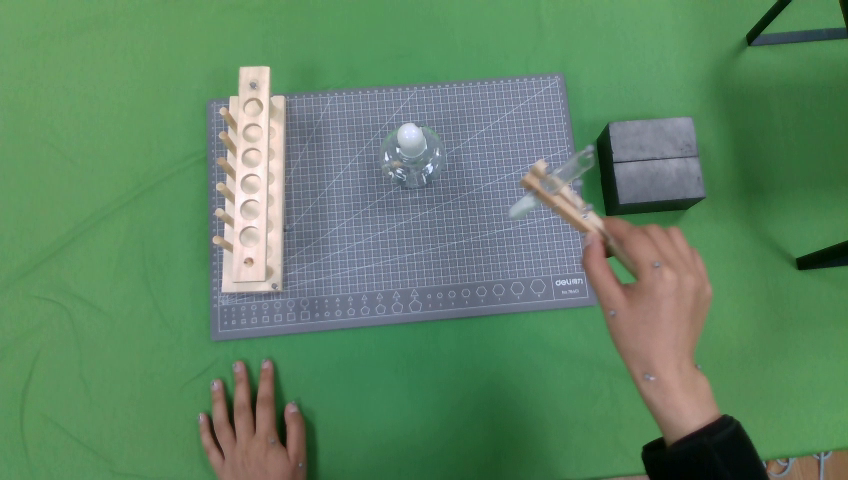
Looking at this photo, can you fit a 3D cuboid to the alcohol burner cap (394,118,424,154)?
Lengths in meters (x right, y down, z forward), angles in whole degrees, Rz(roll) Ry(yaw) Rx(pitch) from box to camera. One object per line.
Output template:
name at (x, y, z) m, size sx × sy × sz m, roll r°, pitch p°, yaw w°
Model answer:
alcohol burner cap at (-0.017, -0.114, 0.652) m, size 0.034 × 0.048 × 0.034 m, roll 0°, pitch 83°, yaw 1°

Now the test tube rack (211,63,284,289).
test tube rack at (-0.203, -0.070, 0.690) m, size 0.067 × 0.085 × 0.241 m, roll -1°, pitch 78°, yaw -1°

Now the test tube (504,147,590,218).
test tube at (0.097, -0.044, 0.506) m, size 0.017 × 0.150 × 0.017 m, roll 3°, pitch 77°, yaw -12°

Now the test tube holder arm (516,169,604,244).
test tube holder arm at (0.113, -0.027, 0.499) m, size 0.088 × 0.015 × 0.010 m, roll 37°, pitch 74°, yaw -4°

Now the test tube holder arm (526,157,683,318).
test tube holder arm at (0.150, -0.001, 0.502) m, size 0.178 × 0.015 × 0.013 m, roll 44°, pitch 74°, yaw -2°

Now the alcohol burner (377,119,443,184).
alcohol burner at (-0.016, -0.106, 0.687) m, size 0.078 × 0.119 × 0.077 m, roll 0°, pitch 80°, yaw 0°
